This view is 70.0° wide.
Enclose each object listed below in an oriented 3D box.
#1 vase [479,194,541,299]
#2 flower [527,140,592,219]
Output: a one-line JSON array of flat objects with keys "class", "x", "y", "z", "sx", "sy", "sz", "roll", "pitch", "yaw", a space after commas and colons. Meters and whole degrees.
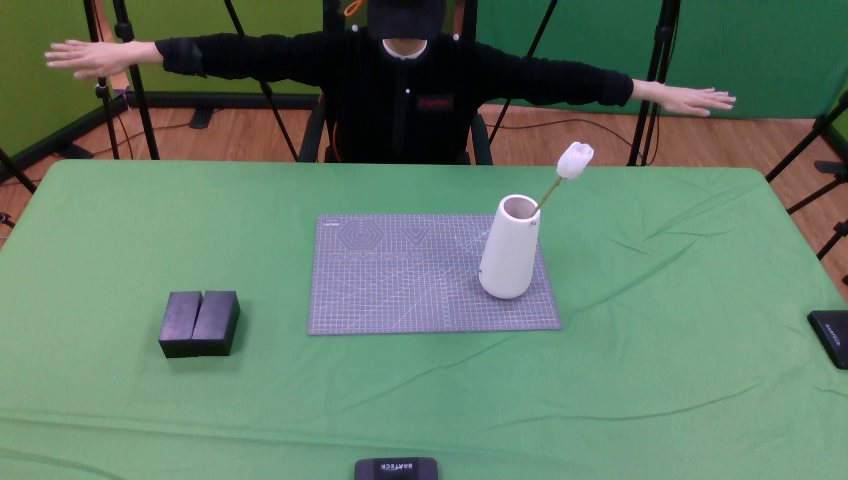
[{"class": "vase", "x": 0.152, "y": 0.015, "z": 1.066, "sx": 0.098, "sy": 0.201, "sz": 0.097, "roll": 1, "pitch": 47, "yaw": -1}, {"class": "flower", "x": 0.173, "y": -0.035, "z": 1.002, "sx": 0.044, "sy": 0.363, "sz": 0.038, "roll": -20, "pitch": 66, "yaw": -29}]
